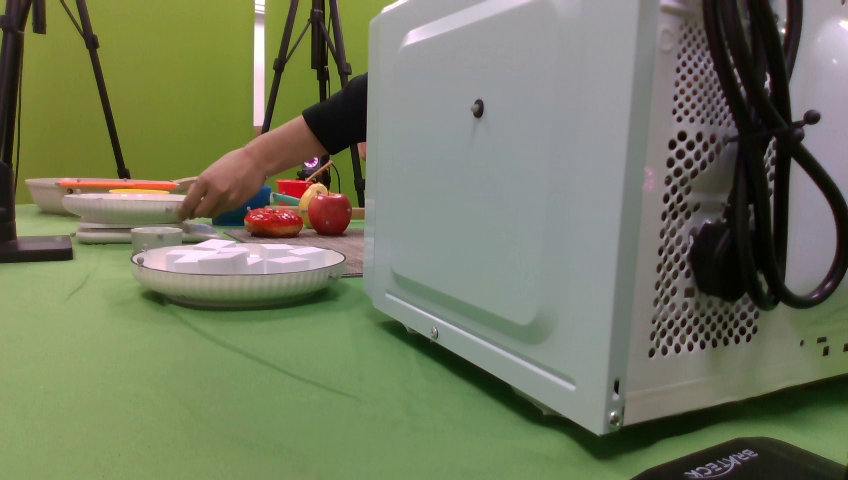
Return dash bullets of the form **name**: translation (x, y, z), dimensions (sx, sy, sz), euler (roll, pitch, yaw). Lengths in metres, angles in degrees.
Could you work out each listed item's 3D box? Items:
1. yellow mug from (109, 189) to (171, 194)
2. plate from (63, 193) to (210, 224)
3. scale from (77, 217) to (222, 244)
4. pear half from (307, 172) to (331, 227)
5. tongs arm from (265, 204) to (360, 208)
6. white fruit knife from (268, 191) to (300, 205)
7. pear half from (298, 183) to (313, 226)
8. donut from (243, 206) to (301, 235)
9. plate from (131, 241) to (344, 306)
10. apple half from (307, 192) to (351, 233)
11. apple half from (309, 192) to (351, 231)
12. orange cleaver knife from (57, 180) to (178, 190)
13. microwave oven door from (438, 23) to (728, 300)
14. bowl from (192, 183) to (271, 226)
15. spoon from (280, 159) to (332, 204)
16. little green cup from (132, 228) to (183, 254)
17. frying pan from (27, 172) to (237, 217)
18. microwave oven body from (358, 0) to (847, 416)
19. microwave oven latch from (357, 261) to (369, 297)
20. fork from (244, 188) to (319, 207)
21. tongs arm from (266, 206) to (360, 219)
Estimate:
- **yellow mug**: translation (-0.519, -0.055, 1.081), dimensions (0.099, 0.064, 0.131), euler (7, 9, 26)
- **plate**: translation (-0.446, -0.051, 0.950), dimensions (0.209, 0.038, 0.209), euler (2, 7, 0)
- **scale**: translation (-0.434, -0.019, 0.963), dimensions (0.202, 0.031, 0.148), euler (-1, 9, -27)
- **pear half**: translation (-0.199, -0.079, 1.203), dimensions (0.056, 0.110, 0.076), euler (3, 12, 1)
- **tongs arm**: translation (-0.209, -0.069, 1.439), dimensions (0.389, 0.027, 0.028), euler (1, 0, -16)
- **white fruit knife**: translation (-0.364, -0.105, 1.464), dimensions (0.208, 0.027, 0.016), euler (15, -1, -34)
- **pear half**: translation (-0.235, -0.071, 1.207), dimensions (0.031, 0.088, 0.070), euler (3, 10, 0)
- **donut**: translation (-0.261, -0.032, 1.043), dimensions (0.099, 0.048, 0.099), euler (4, 10, 0)
- **plate**: translation (-0.187, 0.033, 0.625), dimensions (0.208, 0.039, 0.207), euler (2, 7, 0)
- **apple half**: translation (-0.174, -0.049, 1.087), dimensions (0.081, 0.074, 0.053), euler (6, 10, 2)
- **apple half**: translation (-0.173, -0.054, 1.126), dimensions (0.081, 0.081, 0.033), euler (2, 11, 2)
- **orange cleaver knife**: translation (-0.600, -0.109, 1.189), dimensions (0.212, 0.012, 0.077), euler (-1, 11, -26)
- **microwave oven door**: translation (0.181, -0.073, 0.621), dimensions (0.358, 0.243, 0.039), euler (-2, 8, -29)
- **bowl**: translation (-0.382, -0.071, 1.202), dimensions (0.151, 0.077, 0.151), euler (3, 7, 0)
- **spoon**: translation (-0.316, -0.159, 1.640), dimensions (0.194, 0.022, 0.041), euler (-50, 32, -20)
- **little green cup**: translation (-0.342, 0.006, 0.779), dimensions (0.061, 0.038, 0.061), euler (2, 8, 0)
- **frying pan**: translation (-0.624, -0.118, 1.387), dimensions (0.305, 0.102, 0.490), euler (8, 17, 32)
- **microwave oven body**: translation (0.211, -0.047, 0.474), dimensions (0.444, 0.260, 0.324), euler (-1, 7, -28)
- **microwave oven latch**: translation (-0.019, 0.033, 0.530), dimensions (0.079, 0.029, 0.030), euler (-1, 7, -27)
- **fork**: translation (-0.356, -0.105, 1.526), dimensions (0.208, 0.018, 0.028), euler (16, -6, -41)
- **tongs arm**: translation (-0.173, -0.061, 1.362), dimensions (0.387, 0.026, 0.050), euler (-1, 4, -31)
